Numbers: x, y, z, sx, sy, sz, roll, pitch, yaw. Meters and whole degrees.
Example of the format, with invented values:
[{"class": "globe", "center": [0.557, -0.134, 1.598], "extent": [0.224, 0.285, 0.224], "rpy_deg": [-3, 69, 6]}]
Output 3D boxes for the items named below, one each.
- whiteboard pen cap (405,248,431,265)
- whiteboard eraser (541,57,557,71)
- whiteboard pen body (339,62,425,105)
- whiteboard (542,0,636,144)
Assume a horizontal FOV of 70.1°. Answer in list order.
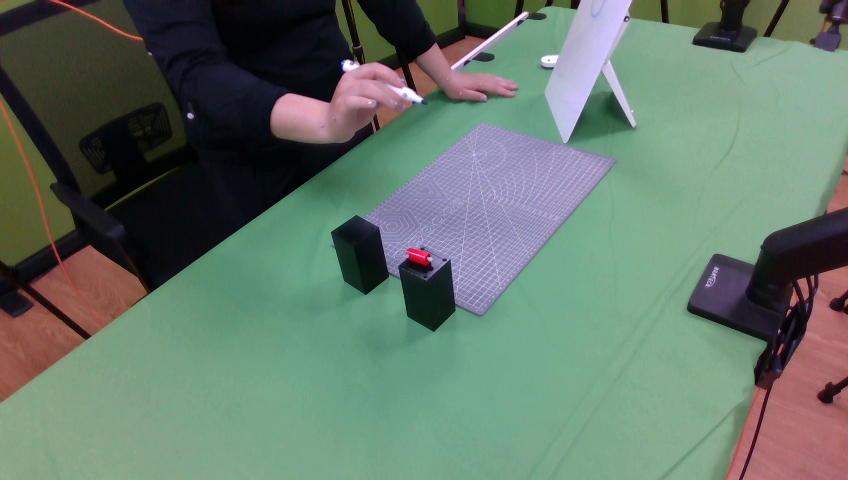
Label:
[{"class": "whiteboard pen cap", "center": [-0.009, 0.021, 0.794], "extent": [0.032, 0.017, 0.017], "rpy_deg": [16, 45, 28]}, {"class": "whiteboard eraser", "center": [0.323, -0.412, 1.407], "extent": [0.101, 0.019, 0.041], "rpy_deg": [1, 42, 11]}, {"class": "whiteboard pen body", "center": [-0.056, -0.210, 0.815], "extent": [0.140, 0.017, 0.017], "rpy_deg": [28, 51, 19]}, {"class": "whiteboard", "center": [0.366, -0.351, 1.160], "extent": [0.144, 0.305, 0.216], "rpy_deg": [10, 39, -10]}]
